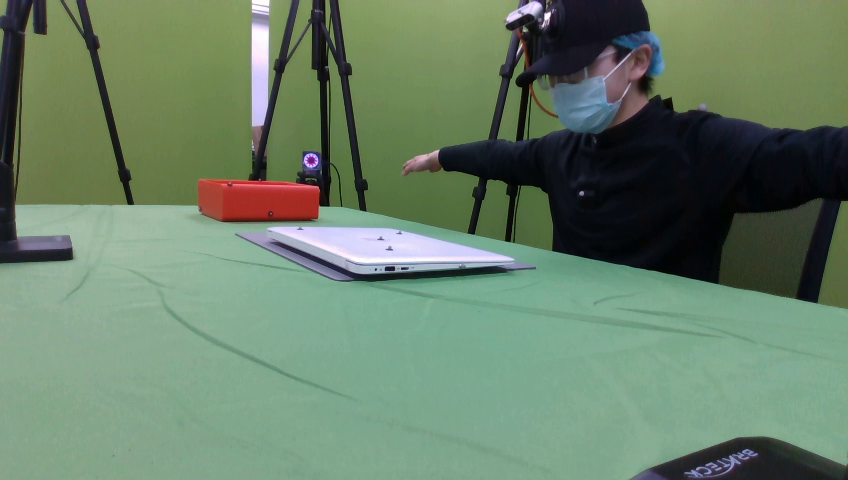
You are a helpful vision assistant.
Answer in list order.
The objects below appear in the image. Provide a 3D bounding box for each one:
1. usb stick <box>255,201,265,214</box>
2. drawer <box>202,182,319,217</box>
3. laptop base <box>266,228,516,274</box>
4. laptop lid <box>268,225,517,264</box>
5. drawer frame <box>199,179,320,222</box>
[{"bbox_3d":[-0.368,-0.074,1.360,0.021,0.027,0.059,1,8,-16],"label":"usb stick"},{"bbox_3d":[-0.369,-0.094,1.360,0.213,0.073,0.193,-2,9,-33],"label":"drawer"},{"bbox_3d":[-0.066,0.014,0.877,0.237,0.023,0.352,2,6,-32],"label":"laptop base"},{"bbox_3d":[-0.063,0.002,0.877,0.243,0.013,0.355,1,7,-30],"label":"laptop lid"},{"bbox_3d":[-0.370,-0.093,1.356,0.215,0.082,0.200,-4,10,-34],"label":"drawer frame"}]
